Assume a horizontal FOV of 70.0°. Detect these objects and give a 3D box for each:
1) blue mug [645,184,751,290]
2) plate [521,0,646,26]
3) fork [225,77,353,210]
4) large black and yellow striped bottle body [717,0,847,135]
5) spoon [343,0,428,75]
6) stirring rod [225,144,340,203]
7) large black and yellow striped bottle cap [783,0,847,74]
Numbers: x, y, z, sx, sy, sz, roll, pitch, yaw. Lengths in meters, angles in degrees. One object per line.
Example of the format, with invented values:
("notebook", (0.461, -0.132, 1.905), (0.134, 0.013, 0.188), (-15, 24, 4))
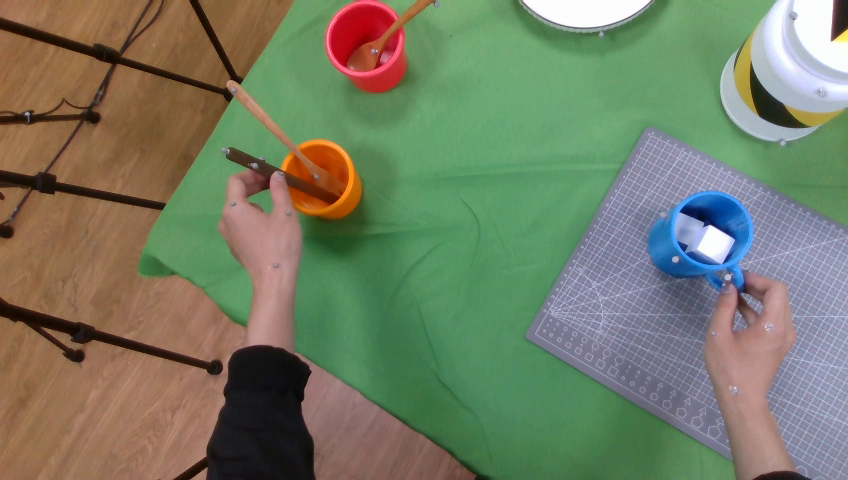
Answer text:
("blue mug", (0.306, 0.004, 0.667), (0.082, 0.106, 0.116), (-31, 81, 2))
("plate", (0.202, -0.363, 0.761), (0.207, 0.039, 0.207), (-1, 83, 7))
("fork", (-0.157, -0.112, 0.720), (0.028, 0.018, 0.209), (-41, 123, 1))
("large black and yellow striped bottle body", (0.406, -0.199, 0.641), (0.130, 0.184, 0.130), (-1, 82, 7))
("spoon", (-0.038, -0.255, 0.724), (0.193, 0.022, 0.041), (-26, 72, 48))
("stirring rod", (-0.155, -0.073, 0.693), (0.006, 0.178, 0.014), (7, 81, 34))
("large black and yellow striped bottle cap", (0.395, -0.212, 0.559), (0.115, 0.019, 0.114), (-1, 85, 7))
